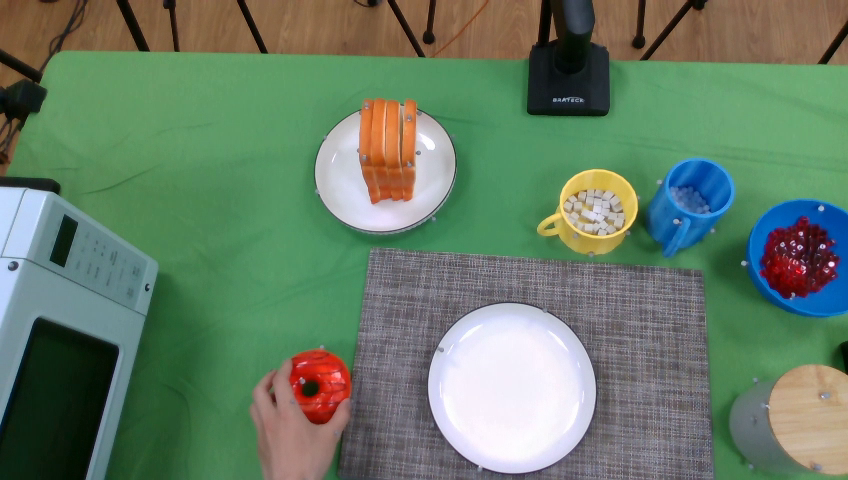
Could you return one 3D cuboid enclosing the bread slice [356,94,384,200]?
[{"bbox_3d":[-0.073,-0.134,0.831,0.018,0.135,0.106,1,66,4],"label":"bread slice"}]

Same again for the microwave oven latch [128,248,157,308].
[{"bbox_3d":[-0.392,0.051,0.831,0.030,0.030,0.078,7,71,8],"label":"microwave oven latch"}]

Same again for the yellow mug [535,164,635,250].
[{"bbox_3d":[0.212,-0.039,0.814,0.131,0.064,0.099,-18,69,0],"label":"yellow mug"}]

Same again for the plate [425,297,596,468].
[{"bbox_3d":[0.107,0.175,0.756,0.209,0.038,0.207,-2,70,5],"label":"plate"}]

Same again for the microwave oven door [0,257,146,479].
[{"bbox_3d":[-0.425,0.222,0.664,0.039,0.245,0.353,3,70,7],"label":"microwave oven door"}]

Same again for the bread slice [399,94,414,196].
[{"bbox_3d":[-0.024,-0.132,0.826,0.019,0.132,0.104,1,72,-2],"label":"bread slice"}]

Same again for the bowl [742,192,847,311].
[{"bbox_3d":[0.468,0.023,0.760,0.151,0.077,0.150,-2,70,5],"label":"bowl"}]

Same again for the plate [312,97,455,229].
[{"bbox_3d":[-0.058,-0.110,0.880,0.207,0.039,0.206,-2,70,5],"label":"plate"}]

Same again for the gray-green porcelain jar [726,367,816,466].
[{"bbox_3d":[0.408,0.197,0.677,0.106,0.127,0.105,-2,70,5],"label":"gray-green porcelain jar"}]

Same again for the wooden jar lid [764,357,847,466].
[{"bbox_3d":[0.401,0.175,0.619,0.108,0.021,0.107,-1,71,3],"label":"wooden jar lid"}]

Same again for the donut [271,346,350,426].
[{"bbox_3d":[-0.142,0.183,0.762,0.099,0.048,0.098,0,71,1],"label":"donut"}]

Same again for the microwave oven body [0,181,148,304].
[{"bbox_3d":[-0.565,0.175,0.699,0.325,0.262,0.439,4,71,6],"label":"microwave oven body"}]

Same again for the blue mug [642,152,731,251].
[{"bbox_3d":[0.330,-0.039,0.782,0.082,0.106,0.116,22,74,13],"label":"blue mug"}]
